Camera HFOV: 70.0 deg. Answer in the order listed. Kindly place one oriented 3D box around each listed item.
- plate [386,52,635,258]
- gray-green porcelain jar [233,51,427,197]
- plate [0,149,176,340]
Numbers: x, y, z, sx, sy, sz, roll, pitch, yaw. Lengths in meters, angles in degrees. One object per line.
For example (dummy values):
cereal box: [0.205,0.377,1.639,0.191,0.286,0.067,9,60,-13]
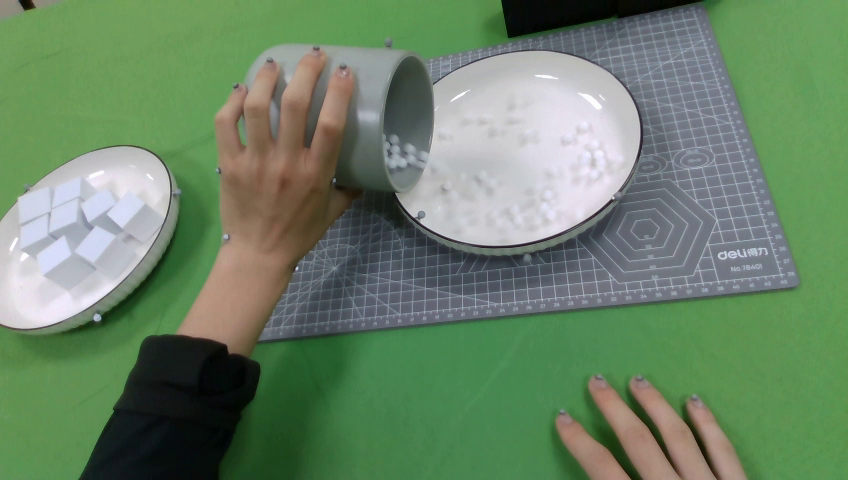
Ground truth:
plate: [0.066,-0.071,0.504,0.209,0.038,0.207,-8,56,13]
gray-green porcelain jar: [-0.074,-0.092,0.474,0.126,0.107,0.105,8,61,19]
plate: [-0.330,0.004,0.585,0.207,0.039,0.205,-8,56,13]
